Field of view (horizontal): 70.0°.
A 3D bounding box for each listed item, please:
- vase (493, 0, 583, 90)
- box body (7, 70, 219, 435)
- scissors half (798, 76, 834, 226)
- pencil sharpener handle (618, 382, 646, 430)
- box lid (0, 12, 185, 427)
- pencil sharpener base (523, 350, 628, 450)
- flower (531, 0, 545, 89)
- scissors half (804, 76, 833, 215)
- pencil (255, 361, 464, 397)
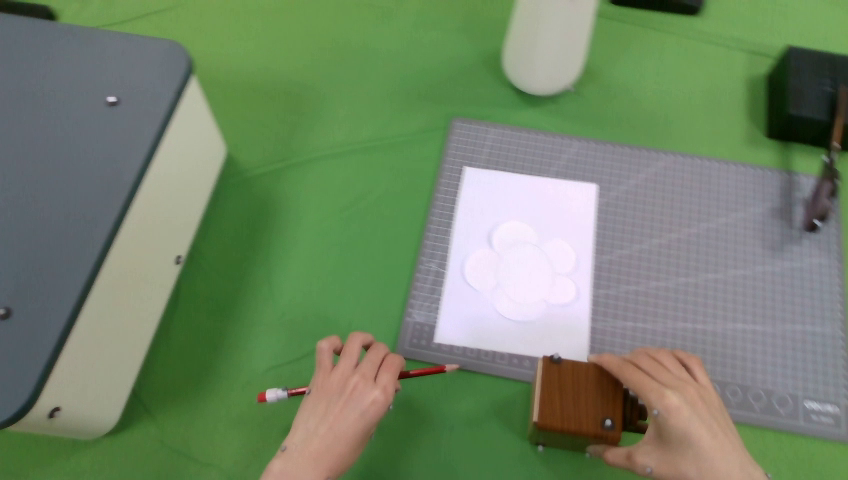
[{"bbox_3d":[0.130,-0.259,0.668,0.098,0.201,0.097,-1,65,2],"label":"vase"},{"bbox_3d":[-0.382,-0.014,0.584,0.254,0.161,0.361,10,67,5],"label":"box body"},{"bbox_3d":[0.432,-0.099,0.663,0.012,0.040,0.175,13,85,21],"label":"scissors half"},{"bbox_3d":[0.180,0.147,0.518,0.030,0.068,0.035,7,59,9],"label":"pencil sharpener handle"},{"bbox_3d":[-0.383,-0.047,0.516,0.263,0.015,0.369,10,66,4],"label":"box lid"},{"bbox_3d":[0.132,0.145,0.537,0.076,0.108,0.061,7,65,8],"label":"pencil sharpener base"},{"bbox_3d":[0.124,-0.306,0.598,0.044,0.365,0.038,3,48,6],"label":"flower"},{"bbox_3d":[0.427,-0.105,0.645,0.013,0.040,0.174,14,67,16],"label":"scissors half"},{"bbox_3d":[-0.060,0.126,0.555,0.194,0.012,0.012,-9,66,2],"label":"pencil"}]
